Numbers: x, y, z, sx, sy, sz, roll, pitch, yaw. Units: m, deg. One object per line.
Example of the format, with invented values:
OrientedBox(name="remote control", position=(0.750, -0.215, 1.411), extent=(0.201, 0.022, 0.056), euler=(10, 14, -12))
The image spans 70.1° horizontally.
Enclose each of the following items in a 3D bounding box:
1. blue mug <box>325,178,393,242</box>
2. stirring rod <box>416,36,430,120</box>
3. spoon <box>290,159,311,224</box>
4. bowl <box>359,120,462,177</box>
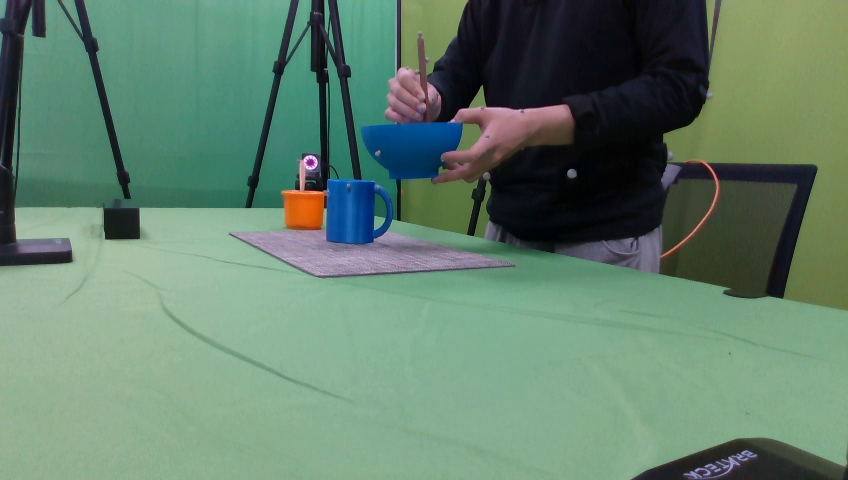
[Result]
OrientedBox(name="blue mug", position=(-0.111, -0.052, 1.034), extent=(0.116, 0.106, 0.082), euler=(3, 7, 7))
OrientedBox(name="stirring rod", position=(0.000, -0.202, 0.865), extent=(0.006, 0.176, 0.014), euler=(-9, 7, -32))
OrientedBox(name="spoon", position=(-0.256, -0.104, 1.265), extent=(0.042, 0.193, 0.021), euler=(1, -37, -9))
OrientedBox(name="bowl", position=(-0.018, -0.132, 0.884), extent=(0.151, 0.077, 0.151), euler=(-2, 9, 1))
